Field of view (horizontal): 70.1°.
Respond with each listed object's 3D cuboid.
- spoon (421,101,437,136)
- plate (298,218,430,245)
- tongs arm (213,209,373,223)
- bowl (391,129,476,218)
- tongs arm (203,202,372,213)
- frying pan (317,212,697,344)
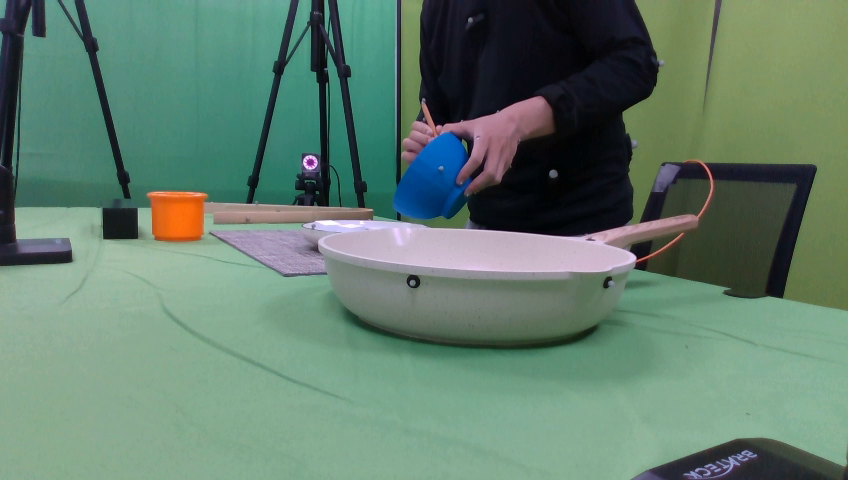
[{"bbox_3d":[0.019,-0.156,1.001,0.021,0.193,0.042,-11,-29,2],"label":"spoon"},{"bbox_3d":[-0.091,-0.006,0.949,0.208,0.039,0.207,2,7,0],"label":"plate"},{"bbox_3d":[-0.274,-0.054,1.347,0.390,0.028,0.028,-3,6,-37],"label":"tongs arm"},{"bbox_3d":[0.027,-0.086,0.934,0.076,0.151,0.152,38,18,14],"label":"bowl"},{"bbox_3d":[-0.312,-0.069,1.418,0.387,0.026,0.050,0,8,-24],"label":"tongs arm"},{"bbox_3d":[0.133,0.013,0.629,0.490,0.102,0.305,-12,14,-31],"label":"frying pan"}]
